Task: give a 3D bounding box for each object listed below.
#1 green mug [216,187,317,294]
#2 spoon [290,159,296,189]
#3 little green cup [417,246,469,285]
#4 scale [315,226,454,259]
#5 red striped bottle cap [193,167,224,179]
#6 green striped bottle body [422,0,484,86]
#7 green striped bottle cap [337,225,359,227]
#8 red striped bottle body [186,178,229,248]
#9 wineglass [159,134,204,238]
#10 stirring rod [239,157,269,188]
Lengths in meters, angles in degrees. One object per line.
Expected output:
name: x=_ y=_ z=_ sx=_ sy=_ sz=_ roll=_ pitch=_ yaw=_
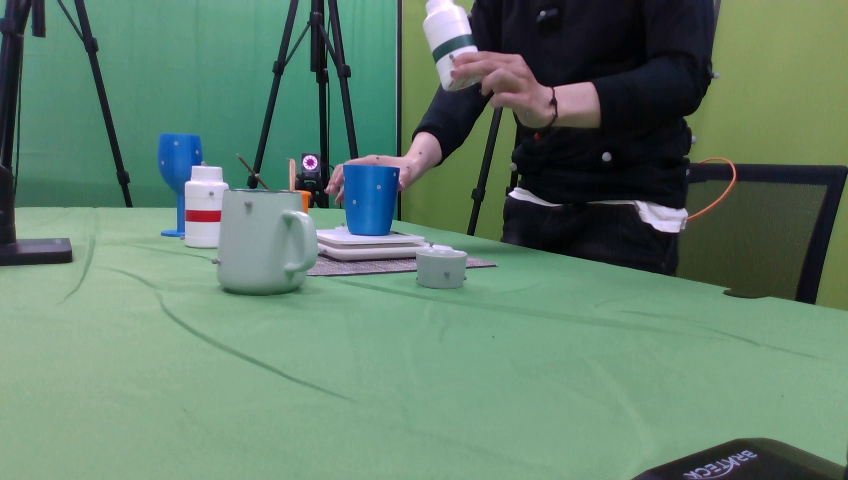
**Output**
green mug: x=-0.157 y=0.000 z=0.629 sx=0.124 sy=0.105 sz=0.093 roll=7 pitch=9 yaw=37
spoon: x=-0.273 y=-0.102 z=1.252 sx=0.042 sy=0.193 sz=0.021 roll=7 pitch=-39 yaw=-18
little green cup: x=0.021 y=0.029 z=0.701 sx=0.061 sy=0.038 sz=0.061 roll=1 pitch=6 yaw=0
scale: x=-0.066 y=0.001 z=0.906 sx=0.202 sy=0.031 sz=0.148 roll=-2 pitch=8 yaw=-31
red striped bottle cap: x=-0.329 y=-0.103 z=0.921 sx=0.044 sy=0.017 sz=0.044 roll=-1 pitch=9 yaw=0
green striped bottle body: x=0.037 y=-0.282 z=0.845 sx=0.063 sy=0.119 sz=0.063 roll=-19 pitch=-1 yaw=0
green striped bottle cap: x=-0.138 y=-0.015 z=1.093 sx=0.044 sy=0.020 sz=0.044 roll=0 pitch=11 yaw=0
red striped bottle body: x=-0.331 y=-0.050 z=0.927 sx=0.063 sy=0.119 sz=0.063 roll=2 pitch=6 yaw=0
wineglass: x=-0.415 y=-0.093 z=1.040 sx=0.074 sy=0.172 sz=0.073 roll=2 pitch=7 yaw=0
stirring rod: x=-0.309 y=-0.098 z=1.209 sx=0.006 sy=0.177 sz=0.014 roll=-38 pitch=29 yaw=-3
